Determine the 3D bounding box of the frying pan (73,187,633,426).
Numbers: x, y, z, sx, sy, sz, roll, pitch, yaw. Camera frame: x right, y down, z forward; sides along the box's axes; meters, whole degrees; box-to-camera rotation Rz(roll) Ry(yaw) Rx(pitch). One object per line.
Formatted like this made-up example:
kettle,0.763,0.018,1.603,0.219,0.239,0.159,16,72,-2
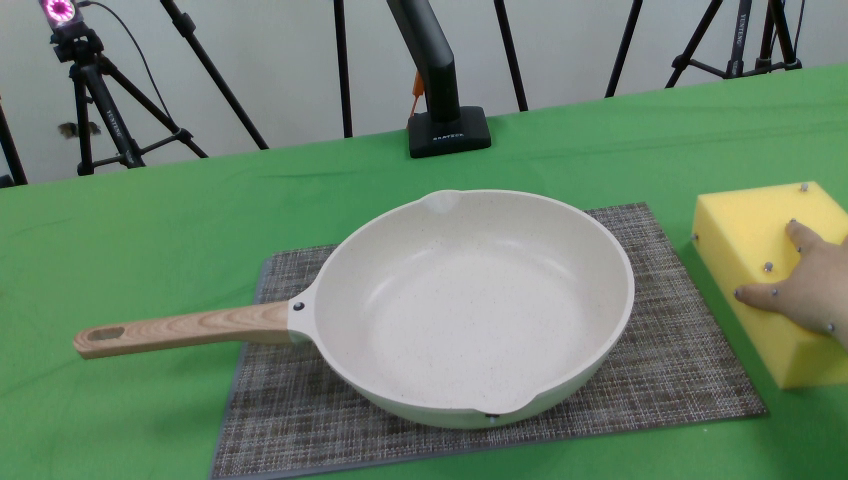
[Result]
frying pan,-0.062,0.063,0.557,0.489,0.103,0.303,-4,36,-6

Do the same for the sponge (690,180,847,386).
sponge,0.341,0.029,0.551,0.118,0.061,0.205,-7,37,3
